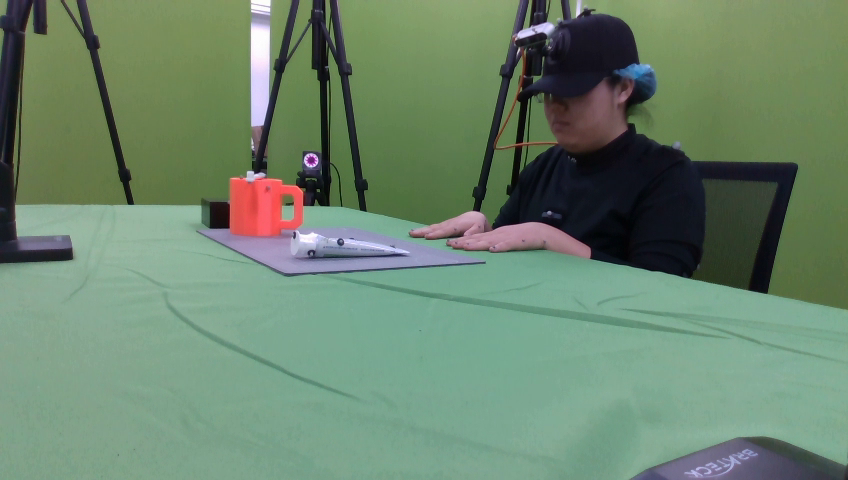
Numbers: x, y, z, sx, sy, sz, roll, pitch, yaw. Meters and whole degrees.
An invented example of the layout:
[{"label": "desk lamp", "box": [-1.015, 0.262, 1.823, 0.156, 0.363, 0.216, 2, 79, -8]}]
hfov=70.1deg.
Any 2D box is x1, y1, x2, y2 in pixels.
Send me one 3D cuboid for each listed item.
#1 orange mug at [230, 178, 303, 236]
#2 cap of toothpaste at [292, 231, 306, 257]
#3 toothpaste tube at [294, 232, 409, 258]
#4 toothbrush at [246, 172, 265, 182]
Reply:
[{"label": "orange mug", "box": [-0.275, -0.060, 1.058, 0.126, 0.101, 0.083, -2, 8, -5]}, {"label": "cap of toothpaste", "box": [-0.169, 0.005, 0.812, 0.011, 0.037, 0.037, 6, 4, -30]}, {"label": "toothpaste tube", "box": [-0.102, 0.010, 0.853, 0.166, 0.034, 0.055, 3, 11, -34]}, {"label": "toothbrush", "box": [-0.292, -0.112, 1.050, 0.014, 0.016, 0.181, -4, 8, -8]}]
